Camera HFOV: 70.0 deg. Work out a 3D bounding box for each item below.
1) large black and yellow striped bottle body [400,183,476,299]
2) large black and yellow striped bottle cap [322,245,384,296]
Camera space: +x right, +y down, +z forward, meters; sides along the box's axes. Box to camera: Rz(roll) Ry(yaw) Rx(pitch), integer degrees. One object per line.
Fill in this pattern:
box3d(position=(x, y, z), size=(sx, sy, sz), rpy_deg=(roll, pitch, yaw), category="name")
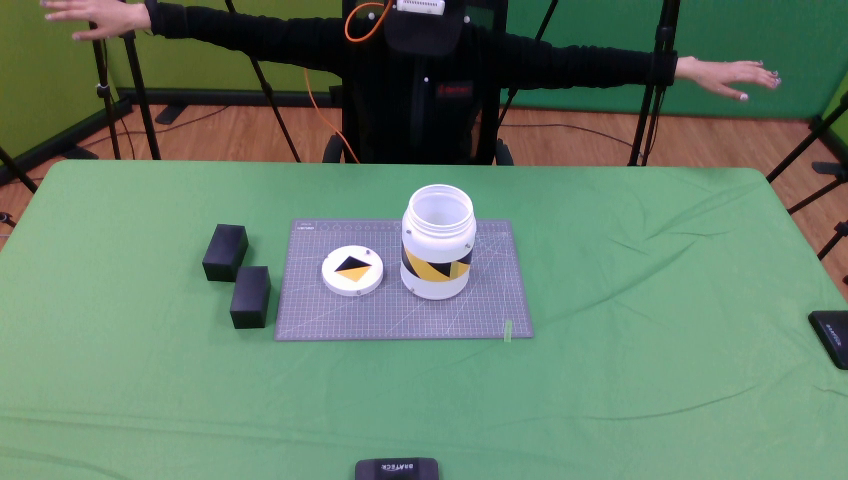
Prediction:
box3d(position=(0.024, 0.003, 1.079), size=(0.131, 0.185, 0.130), rpy_deg=(2, 46, -2), category="large black and yellow striped bottle body")
box3d(position=(-0.133, 0.055, 1.135), size=(0.115, 0.019, 0.114), rpy_deg=(2, 47, -2), category="large black and yellow striped bottle cap")
